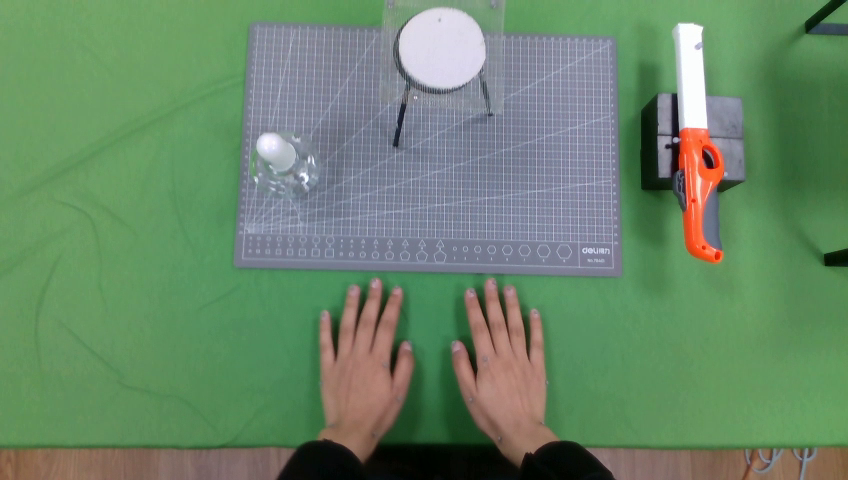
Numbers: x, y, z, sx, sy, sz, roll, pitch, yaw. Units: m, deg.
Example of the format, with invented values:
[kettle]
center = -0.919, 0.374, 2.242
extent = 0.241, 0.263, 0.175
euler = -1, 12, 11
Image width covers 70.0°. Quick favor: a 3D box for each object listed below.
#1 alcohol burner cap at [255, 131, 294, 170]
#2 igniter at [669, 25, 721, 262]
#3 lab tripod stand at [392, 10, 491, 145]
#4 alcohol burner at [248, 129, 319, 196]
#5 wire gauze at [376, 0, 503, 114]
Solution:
[alcohol burner cap]
center = -0.156, -0.094, 0.620
extent = 0.034, 0.048, 0.033
euler = -1, 80, 6
[igniter]
center = 0.301, -0.112, 0.679
extent = 0.057, 0.025, 0.275
euler = 2, 78, -5
[lab tripod stand]
center = 0.008, -0.181, 0.668
extent = 0.148, 0.132, 0.148
euler = 0, 80, 0
[alcohol burner]
center = -0.156, -0.088, 0.656
extent = 0.078, 0.119, 0.077
euler = 0, 82, -1
[wire gauze]
center = 0.017, -0.188, 0.601
extent = 0.125, 0.011, 0.121
euler = 4, 81, -1
